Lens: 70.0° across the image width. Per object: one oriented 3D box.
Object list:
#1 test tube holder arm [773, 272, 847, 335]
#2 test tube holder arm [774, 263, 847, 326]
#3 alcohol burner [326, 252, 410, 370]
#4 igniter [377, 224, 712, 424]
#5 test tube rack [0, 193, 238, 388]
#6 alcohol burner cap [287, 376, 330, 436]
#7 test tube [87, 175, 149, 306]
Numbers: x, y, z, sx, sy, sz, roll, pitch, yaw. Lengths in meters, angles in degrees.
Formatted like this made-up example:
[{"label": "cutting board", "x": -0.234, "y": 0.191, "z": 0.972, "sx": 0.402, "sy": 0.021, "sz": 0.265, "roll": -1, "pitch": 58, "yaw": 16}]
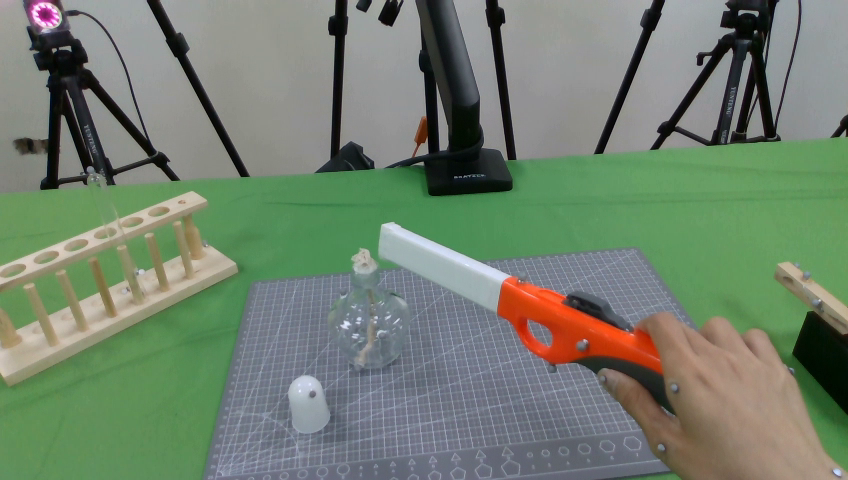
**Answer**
[{"label": "test tube holder arm", "x": 0.348, "y": 0.054, "z": 0.542, "sx": 0.015, "sy": 0.010, "sz": 0.087, "roll": -14, "pitch": 32, "yaw": -6}, {"label": "test tube holder arm", "x": 0.357, "y": 0.071, "z": 0.501, "sx": 0.015, "sy": 0.013, "sz": 0.176, "roll": -14, "pitch": 32, "yaw": -6}, {"label": "alcohol burner", "x": -0.052, "y": 0.060, "z": 0.549, "sx": 0.078, "sy": 0.120, "sz": 0.077, "roll": 0, "pitch": 34, "yaw": 1}, {"label": "igniter", "x": 0.066, "y": 0.046, "z": 0.426, "sx": 0.274, "sy": 0.057, "sz": 0.025, "roll": 25, "pitch": 28, "yaw": 37}, {"label": "test tube rack", "x": -0.324, "y": 0.042, "z": 0.627, "sx": 0.066, "sy": 0.086, "sz": 0.242, "roll": 27, "pitch": 42, "yaw": 37}, {"label": "alcohol burner cap", "x": -0.097, "y": 0.134, "z": 0.502, "sx": 0.034, "sy": 0.048, "sz": 0.033, "roll": -1, "pitch": 33, "yaw": 1}, {"label": "test tube", "x": -0.301, "y": 0.004, "z": 0.600, "sx": 0.017, "sy": 0.151, "sz": 0.017, "roll": -2, "pitch": 34, "yaw": 1}]
